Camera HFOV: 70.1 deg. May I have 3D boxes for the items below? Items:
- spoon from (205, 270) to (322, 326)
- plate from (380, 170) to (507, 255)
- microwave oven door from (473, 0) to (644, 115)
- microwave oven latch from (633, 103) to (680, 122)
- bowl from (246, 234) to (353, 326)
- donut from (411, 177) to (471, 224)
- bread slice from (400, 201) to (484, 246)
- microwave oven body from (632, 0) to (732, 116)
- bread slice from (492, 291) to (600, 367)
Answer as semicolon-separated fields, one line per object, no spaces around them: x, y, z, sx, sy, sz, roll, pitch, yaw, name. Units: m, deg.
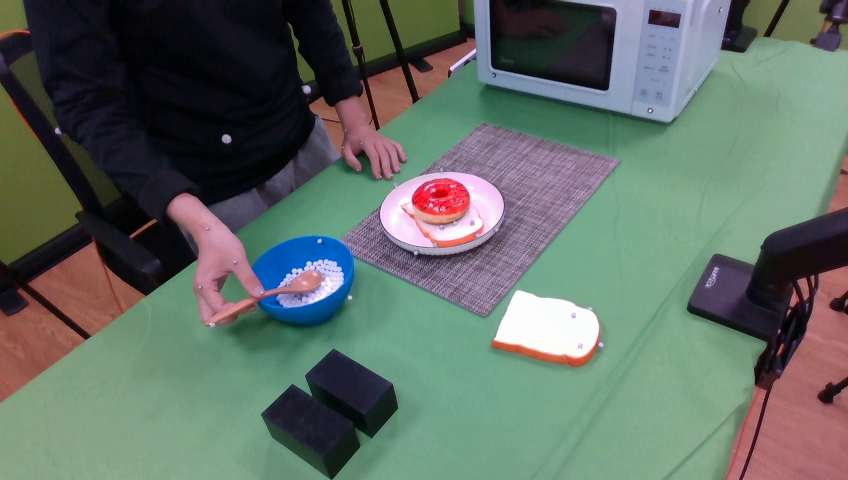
-0.213;0.076;0.815;0.041;0.021;0.195;23;25;30;spoon
0.033;-0.042;0.995;0.207;0.039;0.206;-4;40;4;plate
0.257;-0.396;1.199;0.353;0.245;0.039;21;48;29;microwave oven door
0.444;-0.249;1.157;0.078;0.029;0.030;21;49;30;microwave oven latch
-0.170;0.070;0.868;0.151;0.077;0.150;-4;41;4;bowl
0.028;-0.064;0.978;0.099;0.048;0.098;-4;40;4;donut
0.037;-0.037;0.990;0.107;0.018;0.133;-23;42;-17;bread slice
0.377;-0.462;1.267;0.438;0.261;0.327;21;48;30;microwave oven body
0.169;0.118;0.811;0.131;0.019;0.105;11;44;21;bread slice
